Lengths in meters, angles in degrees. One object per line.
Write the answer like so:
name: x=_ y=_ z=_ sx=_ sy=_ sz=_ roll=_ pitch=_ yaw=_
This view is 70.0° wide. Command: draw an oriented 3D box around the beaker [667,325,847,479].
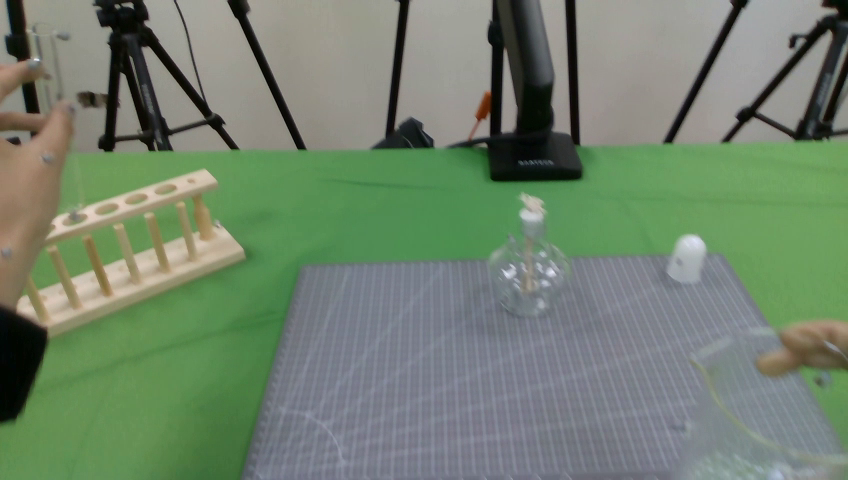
beaker: x=0.158 y=0.100 z=0.290 sx=0.083 sy=0.101 sz=0.074 roll=22 pitch=45 yaw=30

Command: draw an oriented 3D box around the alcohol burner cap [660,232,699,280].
alcohol burner cap: x=0.259 y=0.014 z=0.611 sx=0.034 sy=0.048 sz=0.033 roll=-1 pitch=36 yaw=1

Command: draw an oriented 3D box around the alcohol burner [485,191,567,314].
alcohol burner: x=0.095 y=0.009 z=0.563 sx=0.078 sy=0.120 sz=0.077 roll=-2 pitch=35 yaw=2

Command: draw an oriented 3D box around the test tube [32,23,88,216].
test tube: x=-0.248 y=-0.075 z=0.417 sx=0.017 sy=0.151 sz=0.017 roll=11 pitch=41 yaw=-9

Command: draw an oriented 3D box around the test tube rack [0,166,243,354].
test tube rack: x=-0.316 y=0.013 z=0.603 sx=0.243 sy=0.086 sz=0.066 roll=-25 pitch=42 yaw=-29
